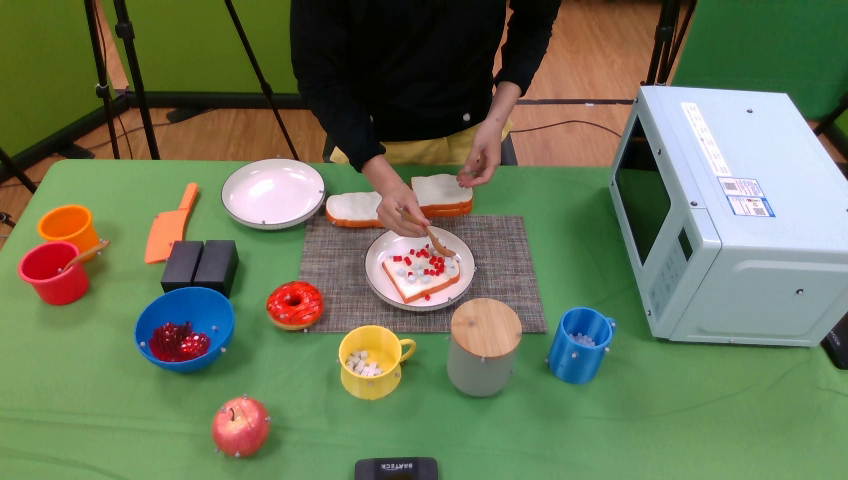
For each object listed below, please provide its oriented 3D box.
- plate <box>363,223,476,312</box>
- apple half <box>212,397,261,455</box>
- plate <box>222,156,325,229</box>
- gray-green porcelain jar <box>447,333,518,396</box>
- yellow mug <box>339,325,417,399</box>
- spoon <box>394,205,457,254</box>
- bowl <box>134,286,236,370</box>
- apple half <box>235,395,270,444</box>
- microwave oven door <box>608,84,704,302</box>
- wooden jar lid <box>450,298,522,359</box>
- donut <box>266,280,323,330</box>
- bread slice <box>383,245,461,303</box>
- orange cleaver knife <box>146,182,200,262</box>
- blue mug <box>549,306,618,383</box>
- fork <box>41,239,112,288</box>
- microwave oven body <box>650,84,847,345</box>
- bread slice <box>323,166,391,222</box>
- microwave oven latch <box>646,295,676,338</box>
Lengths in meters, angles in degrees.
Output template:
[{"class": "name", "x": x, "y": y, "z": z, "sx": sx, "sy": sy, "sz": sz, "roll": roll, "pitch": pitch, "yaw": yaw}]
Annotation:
[{"class": "plate", "x": -0.009, "y": 0.054, "z": 1.126, "sx": 0.208, "sy": 0.039, "sz": 0.206, "roll": 2, "pitch": 46, "yaw": -2}, {"class": "apple half", "x": -0.276, "y": 0.277, "z": 0.877, "sx": 0.053, "sy": 0.075, "sz": 0.080, "roll": -29, "pitch": 58, "yaw": -21}, {"class": "plate", "x": -0.308, "y": -0.095, "z": 1.251, "sx": 0.209, "sy": 0.038, "sz": 0.208, "roll": 3, "pitch": 46, "yaw": -3}, {"class": "gray-green porcelain jar", "x": 0.091, "y": 0.178, "z": 0.960, "sx": 0.106, "sy": 0.127, "sz": 0.105, "roll": 2, "pitch": 46, "yaw": -2}, {"class": "yellow mug", "x": -0.072, "y": 0.191, "z": 0.978, "sx": 0.131, "sy": 0.064, "sz": 0.099, "roll": -17, "pitch": 49, "yaw": -20}, {"class": "spoon", "x": 0.003, "y": -0.018, "z": 1.079, "sx": 0.041, "sy": 0.195, "sz": 0.021, "roll": 26, "pitch": 78, "yaw": 42}, {"class": "bowl", "x": -0.377, "y": 0.156, "z": 0.981, "sx": 0.151, "sy": 0.077, "sz": 0.150, "roll": 2, "pitch": 46, "yaw": -2}, {"class": "apple half", "x": -0.245, "y": 0.260, "z": 0.893, "sx": 0.033, "sy": 0.082, "sz": 0.081, "roll": -29, "pitch": 55, "yaw": -22}, {"class": "microwave oven door", "x": 0.424, "y": -0.096, "z": 1.138, "sx": 0.039, "sy": 0.245, "sz": 0.353, "roll": 2, "pitch": 47, "yaw": -1}, {"class": "wooden jar lid", "x": 0.093, "y": 0.135, "z": 0.914, "sx": 0.108, "sy": 0.021, "sz": 0.107, "roll": 3, "pitch": 48, "yaw": -3}, {"class": "donut", "x": -0.223, "y": 0.113, "z": 1.051, "sx": 0.099, "sy": 0.048, "sz": 0.098, "roll": 2, "pitch": 46, "yaw": -2}, {"class": "bread slice", "x": 0.001, "y": 0.055, "z": 1.129, "sx": 0.131, "sy": 0.019, "sz": 0.104, "roll": -21, "pitch": 52, "yaw": -19}, {"class": "orange cleaver knife", "x": -0.494, "y": -0.039, "z": 1.198, "sx": 0.077, "sy": 0.012, "sz": 0.210, "roll": -4, "pitch": 48, "yaw": 2}, {"class": "blue mug", "x": 0.269, "y": 0.167, "z": 0.997, "sx": 0.116, "sy": 0.106, "sz": 0.082, "roll": -19, "pitch": 51, "yaw": -21}, {"class": "fork", "x": -0.591, "y": 0.040, "z": 1.028, "sx": 0.207, "sy": 0.019, "sz": 0.028, "roll": -27, "pitch": 37, "yaw": 29}, {"class": "microwave oven body", "x": 0.569, "y": -0.054, "z": 1.116, "sx": 0.326, "sy": 0.261, "sz": 0.439, "roll": 2, "pitch": 46, "yaw": -1}, {"class": "bread slice", "x": -0.140, "y": -0.092, "z": 1.224, "sx": 0.134, "sy": 0.018, "sz": 0.106, "roll": -19, "pitch": 51, "yaw": 5}, {"class": "microwave oven latch", "x": 0.413, "y": 0.133, "z": 1.060, "sx": 0.030, "sy": 0.029, "sz": 0.078, "roll": 4, "pitch": 46, "yaw": 1}]
